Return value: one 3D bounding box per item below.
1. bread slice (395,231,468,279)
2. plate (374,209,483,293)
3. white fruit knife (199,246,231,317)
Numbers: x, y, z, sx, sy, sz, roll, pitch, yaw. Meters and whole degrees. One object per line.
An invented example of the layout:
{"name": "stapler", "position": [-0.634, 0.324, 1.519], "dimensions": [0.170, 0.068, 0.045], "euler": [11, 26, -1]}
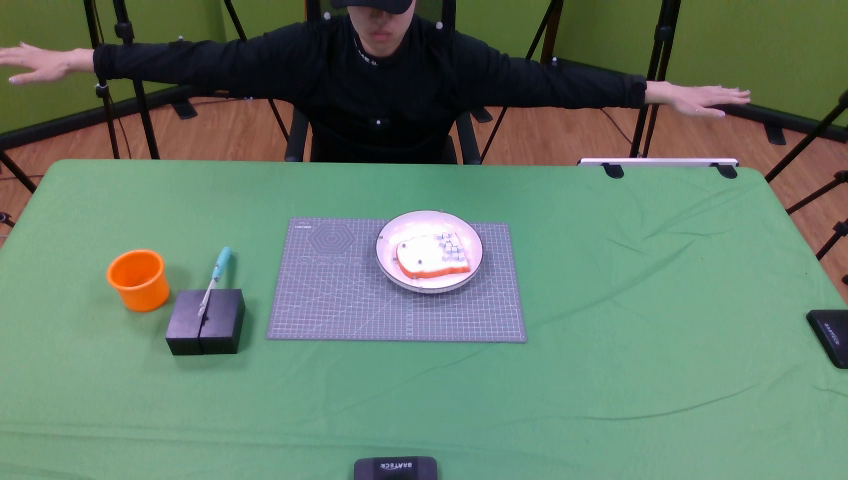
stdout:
{"name": "bread slice", "position": [0.011, 0.030, 1.158], "dimensions": [0.132, 0.019, 0.104], "euler": [-8, 47, -14]}
{"name": "plate", "position": [0.009, 0.024, 1.160], "dimensions": [0.209, 0.038, 0.208], "euler": [2, 46, -2]}
{"name": "white fruit knife", "position": [-0.367, 0.069, 1.063], "dimensions": [0.016, 0.027, 0.206], "euler": [0, 32, -4]}
